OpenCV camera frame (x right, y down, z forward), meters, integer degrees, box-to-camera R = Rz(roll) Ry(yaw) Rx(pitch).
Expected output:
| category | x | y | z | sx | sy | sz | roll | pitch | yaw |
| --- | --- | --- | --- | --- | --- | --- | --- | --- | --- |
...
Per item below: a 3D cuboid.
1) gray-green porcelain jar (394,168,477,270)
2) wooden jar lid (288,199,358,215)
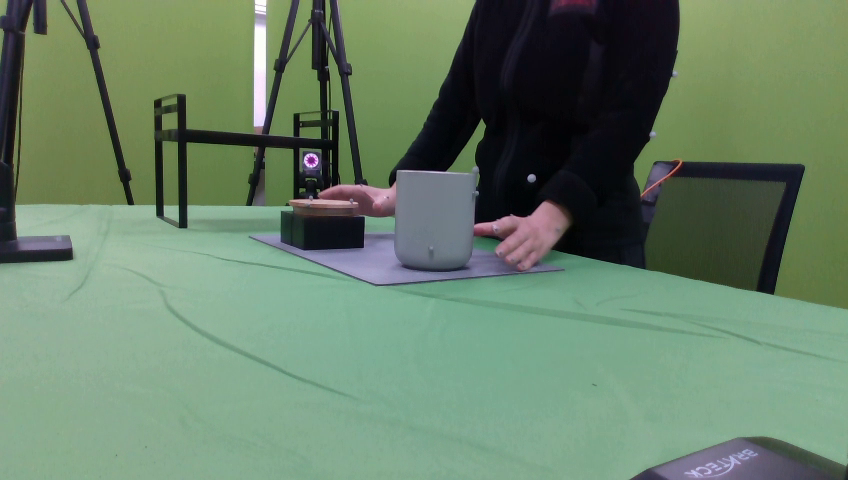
| category | x | y | z | sx | sy | sz | roll | pitch | yaw |
| --- | --- | --- | --- | --- | --- | --- | --- | --- | --- |
| gray-green porcelain jar | 0.014 | -0.029 | 0.793 | 0.106 | 0.126 | 0.106 | 2 | 7 | 0 |
| wooden jar lid | -0.158 | -0.053 | 0.950 | 0.108 | 0.020 | 0.108 | 3 | 8 | 0 |
